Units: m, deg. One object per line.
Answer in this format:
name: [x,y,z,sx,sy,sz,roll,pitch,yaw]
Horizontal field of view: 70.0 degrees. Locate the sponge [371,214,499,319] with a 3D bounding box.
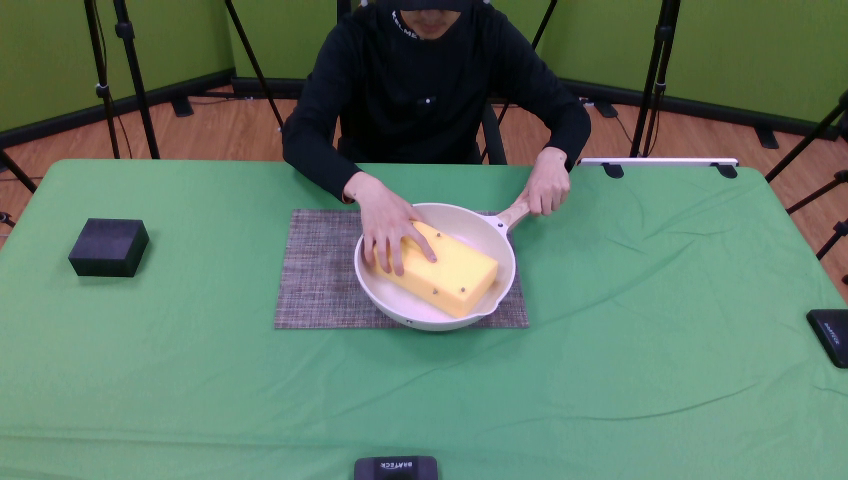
sponge: [0.019,0.046,1.115,0.206,0.061,0.118,28,52,21]

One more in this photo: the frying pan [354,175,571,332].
frying pan: [0.102,-0.001,1.142,0.488,0.103,0.305,-32,56,-20]
